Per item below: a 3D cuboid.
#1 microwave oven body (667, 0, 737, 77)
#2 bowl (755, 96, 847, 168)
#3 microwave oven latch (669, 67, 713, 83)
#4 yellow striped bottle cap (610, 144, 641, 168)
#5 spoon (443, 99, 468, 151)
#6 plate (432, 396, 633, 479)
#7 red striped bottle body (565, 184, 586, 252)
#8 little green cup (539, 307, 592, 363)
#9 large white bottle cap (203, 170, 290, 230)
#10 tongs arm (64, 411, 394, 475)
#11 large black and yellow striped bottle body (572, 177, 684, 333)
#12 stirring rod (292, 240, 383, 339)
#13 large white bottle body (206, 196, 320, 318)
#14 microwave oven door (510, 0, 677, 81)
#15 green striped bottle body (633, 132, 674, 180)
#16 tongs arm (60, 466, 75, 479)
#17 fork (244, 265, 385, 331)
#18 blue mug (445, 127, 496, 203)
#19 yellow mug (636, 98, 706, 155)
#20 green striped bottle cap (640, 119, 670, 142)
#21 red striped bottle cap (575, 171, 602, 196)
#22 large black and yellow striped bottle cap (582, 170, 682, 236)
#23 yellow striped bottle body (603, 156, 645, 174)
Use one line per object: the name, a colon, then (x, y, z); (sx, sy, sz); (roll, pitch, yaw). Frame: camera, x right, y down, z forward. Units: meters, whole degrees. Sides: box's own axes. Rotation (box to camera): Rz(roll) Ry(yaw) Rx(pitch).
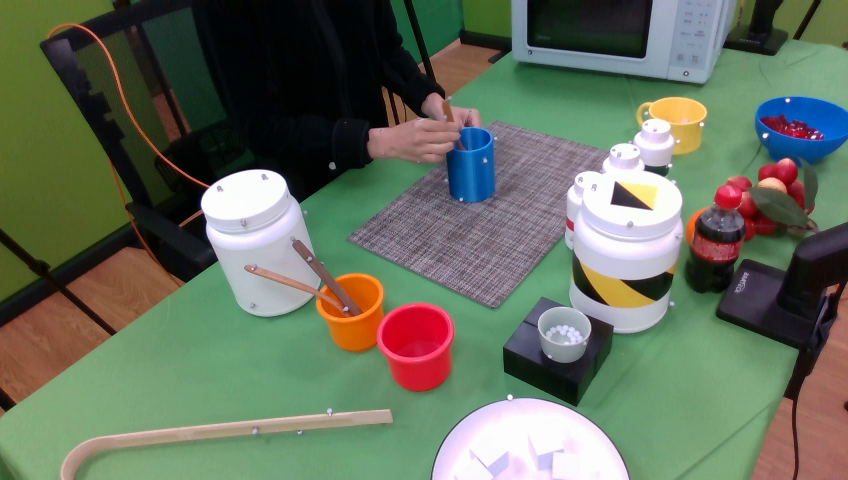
microwave oven body: (0.462, -0.552, 1.369); (0.439, 0.261, 0.326); (15, 45, 26)
bowl: (0.645, -0.177, 1.041); (0.151, 0.077, 0.150); (-5, 40, 4)
microwave oven latch: (0.556, -0.348, 1.262); (0.078, 0.029, 0.030); (16, 46, 27)
yellow striped bottle cap: (0.307, -0.128, 0.923); (0.044, 0.019, 0.044); (-5, 39, 5)
spoon: (0.057, -0.167, 1.005); (0.041, 0.195, 0.021); (-24, 54, 3)
plate: (0.112, 0.261, 0.634); (0.209, 0.038, 0.208); (-5, 40, 4)
red striped bottle body: (0.247, -0.041, 0.910); (0.063, 0.120, 0.062); (-3, 39, 3)
little green cup: (0.167, 0.114, 0.721); (0.061, 0.039, 0.061); (-4, 43, 4)
large white bottle cap: (-0.241, -0.057, 0.822); (0.115, 0.018, 0.114); (-4, 40, 4)
tongs arm: (-0.228, 0.240, 0.715); (0.385, 0.026, 0.050); (-4, 44, 5)
large black and yellow striped bottle body: (0.262, 0.017, 0.788); (0.131, 0.185, 0.130); (-5, 40, 4)
stirring rod: (-0.118, 0.068, 0.826); (0.176, 0.006, 0.014); (49, 59, -4)
large white bottle body: (-0.233, 0.008, 0.876); (0.130, 0.185, 0.130); (-4, 40, 4)
microwave oven door: (0.354, -0.478, 1.290); (0.353, 0.245, 0.039); (15, 45, 25)
green striped bottle body: (0.376, -0.135, 1.001); (0.063, 0.120, 0.063); (-5, 40, 5)
tongs arm: (-0.239, 0.301, 0.649); (0.386, 0.028, 0.028); (6, 49, 17)
fork: (-0.142, 0.078, 0.806); (0.209, 0.018, 0.028); (30, 33, -23)
blue mug: (0.082, -0.140, 1.059); (0.082, 0.106, 0.116); (-3, 40, 5)
yellow mug: (0.453, -0.217, 1.128); (0.100, 0.064, 0.129); (-34, 46, -27)
green striped bottle cap: (0.371, -0.175, 0.968); (0.044, 0.020, 0.044); (-4, 41, 4)
red striped bottle cap: (0.242, -0.081, 0.876); (0.044, 0.018, 0.044); (-5, 44, 5)
large black and yellow striped bottle cap: (0.252, -0.048, 0.735); (0.115, 0.019, 0.114); (-3, 40, 3)
yellow striped bottle body: (0.313, -0.089, 0.956); (0.063, 0.121, 0.062); (-4, 40, 4)
